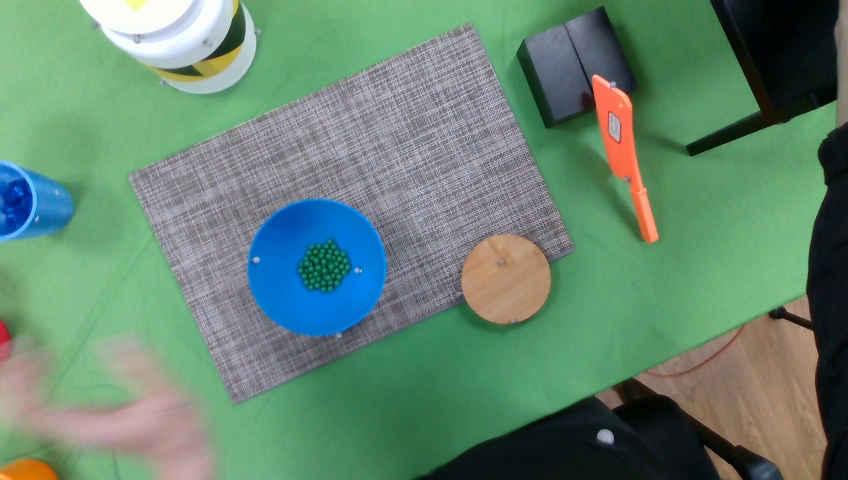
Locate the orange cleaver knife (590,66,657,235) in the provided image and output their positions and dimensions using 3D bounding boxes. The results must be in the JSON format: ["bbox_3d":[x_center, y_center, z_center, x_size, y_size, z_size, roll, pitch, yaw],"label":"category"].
[{"bbox_3d":[0.231,-0.100,0.702,0.012,0.076,0.213,-28,120,-5],"label":"orange cleaver knife"}]

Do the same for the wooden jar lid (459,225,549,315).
[{"bbox_3d":[0.095,0.035,0.726,0.108,0.020,0.108,0,96,-3],"label":"wooden jar lid"}]

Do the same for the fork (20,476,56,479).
[{"bbox_3d":[-0.510,0.292,0.646,0.208,0.018,0.028,-4,99,-45],"label":"fork"}]

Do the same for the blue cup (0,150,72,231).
[{"bbox_3d":[-0.445,-0.051,0.671,0.093,0.100,0.092,0,91,-4],"label":"blue cup"}]

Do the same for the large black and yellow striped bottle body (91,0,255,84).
[{"bbox_3d":[-0.263,-0.250,0.635,0.131,0.184,0.130,0,89,-2],"label":"large black and yellow striped bottle body"}]

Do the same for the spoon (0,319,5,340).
[{"bbox_3d":[-0.563,0.123,0.647,0.194,0.021,0.041,-18,92,-45],"label":"spoon"}]

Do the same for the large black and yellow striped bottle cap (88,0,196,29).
[{"bbox_3d":[-0.259,-0.252,0.551,0.115,0.019,0.115,0,91,-1],"label":"large black and yellow striped bottle cap"}]

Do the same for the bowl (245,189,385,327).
[{"bbox_3d":[-0.118,0.020,0.690,0.151,0.077,0.151,0,90,-2],"label":"bowl"}]
